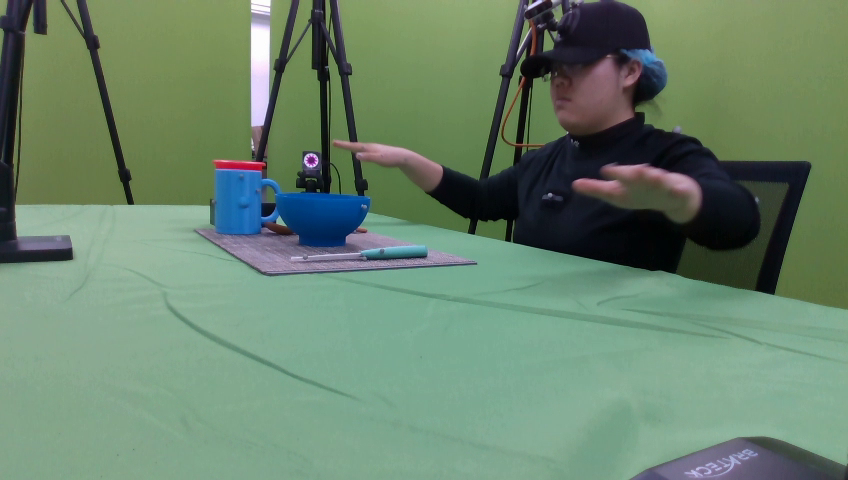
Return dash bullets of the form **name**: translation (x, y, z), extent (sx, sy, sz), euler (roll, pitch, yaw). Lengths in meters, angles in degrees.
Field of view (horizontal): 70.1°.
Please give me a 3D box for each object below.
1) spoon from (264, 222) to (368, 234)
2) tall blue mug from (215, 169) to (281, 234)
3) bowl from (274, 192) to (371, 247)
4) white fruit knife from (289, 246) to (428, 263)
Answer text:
- **spoon**: translation (-0.191, -0.023, 1.090), extent (0.195, 0.021, 0.041), euler (-2, -9, -29)
- **tall blue mug**: translation (-0.313, -0.069, 1.061), extent (0.077, 0.108, 0.108), euler (6, 8, 31)
- **bowl**: translation (-0.161, -0.033, 0.958), extent (0.151, 0.077, 0.151), euler (3, 8, 0)
- **white fruit knife**: translation (-0.082, 0.022, 0.822), extent (0.208, 0.016, 0.027), euler (-3, -20, -30)
